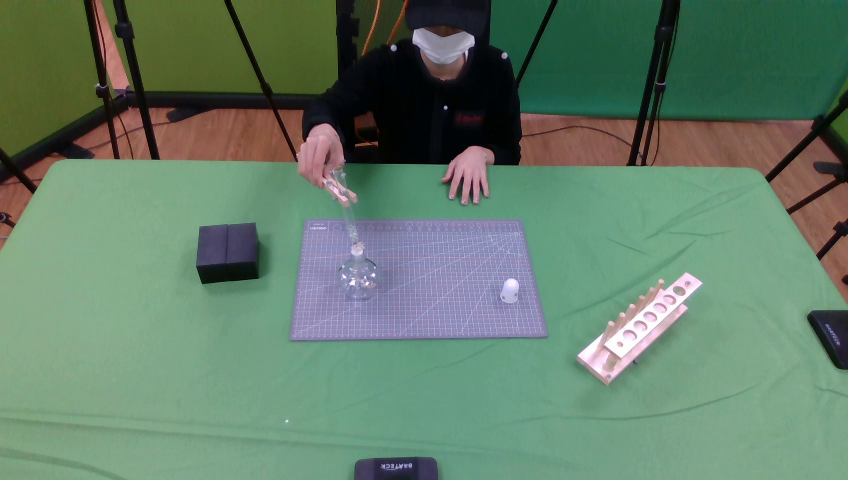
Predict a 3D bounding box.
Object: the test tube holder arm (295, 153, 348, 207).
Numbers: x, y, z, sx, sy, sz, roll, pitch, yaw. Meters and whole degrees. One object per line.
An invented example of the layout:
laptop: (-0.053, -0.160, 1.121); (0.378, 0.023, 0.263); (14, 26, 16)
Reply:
test tube holder arm: (-0.171, -0.102, 0.999); (0.013, 0.015, 0.177); (-28, 45, -24)

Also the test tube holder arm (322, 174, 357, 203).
test tube holder arm: (-0.139, -0.084, 0.973); (0.010, 0.015, 0.087); (-35, 49, -29)

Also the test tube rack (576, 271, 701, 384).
test tube rack: (0.373, 0.138, 1.047); (0.242, 0.085, 0.066); (-31, 56, -29)

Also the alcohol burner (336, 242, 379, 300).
alcohol burner: (-0.118, 0.050, 1.072); (0.078, 0.120, 0.077); (2, 44, -1)

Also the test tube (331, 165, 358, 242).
test tube: (-0.126, -0.054, 0.972); (0.017, 0.151, 0.017); (-4, 41, 4)

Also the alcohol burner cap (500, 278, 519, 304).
alcohol burner cap: (0.157, 0.090, 1.104); (0.034, 0.048, 0.033); (2, 46, -2)
